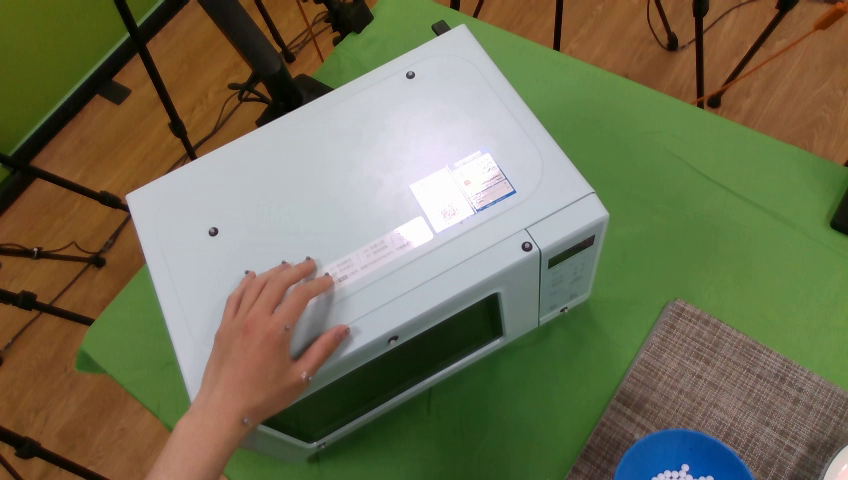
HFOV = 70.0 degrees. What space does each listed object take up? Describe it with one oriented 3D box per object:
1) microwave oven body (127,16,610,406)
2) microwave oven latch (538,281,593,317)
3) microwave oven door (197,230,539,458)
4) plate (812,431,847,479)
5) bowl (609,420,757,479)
[{"bbox_3d":[-0.061,-0.003,0.743,0.442,0.262,0.323,-29,64,-3],"label":"microwave oven body"},{"bbox_3d":[0.177,0.068,0.778,0.079,0.030,0.030,-27,64,-3],"label":"microwave oven latch"},{"bbox_3d":[-0.033,0.127,0.672,0.356,0.246,0.039,-29,63,-4],"label":"microwave oven door"},{"bbox_3d":[0.513,0.295,0.631,0.207,0.039,0.206,-4,65,8],"label":"plate"},{"bbox_3d":[0.274,0.278,0.656,0.151,0.077,0.150,-4,64,8],"label":"bowl"}]
